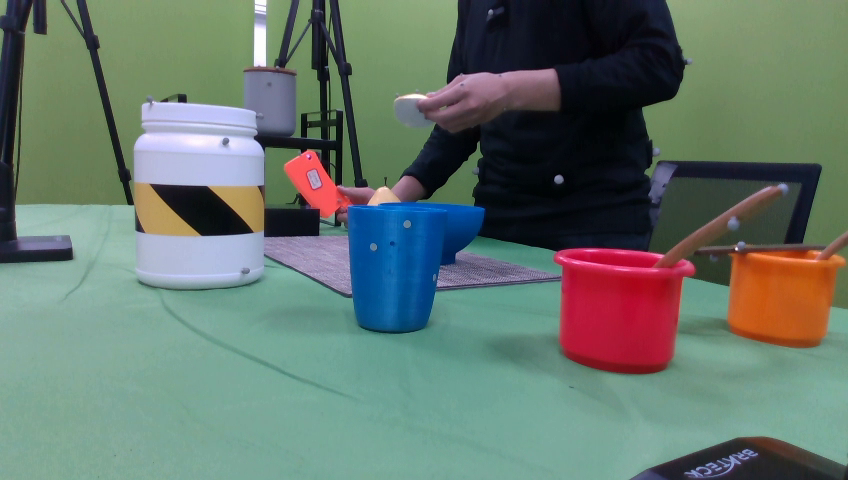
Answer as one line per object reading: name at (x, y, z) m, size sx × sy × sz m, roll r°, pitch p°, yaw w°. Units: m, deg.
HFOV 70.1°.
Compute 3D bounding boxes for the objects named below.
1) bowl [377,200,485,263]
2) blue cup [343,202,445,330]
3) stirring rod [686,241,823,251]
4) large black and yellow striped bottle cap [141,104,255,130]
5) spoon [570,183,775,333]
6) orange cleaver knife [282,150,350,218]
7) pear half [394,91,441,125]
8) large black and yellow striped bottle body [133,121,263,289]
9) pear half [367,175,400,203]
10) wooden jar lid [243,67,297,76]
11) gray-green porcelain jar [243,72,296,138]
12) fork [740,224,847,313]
bowl at (0.008, -0.012, 0.842) m, size 0.151 × 0.077 × 0.151 m, roll 3°, pitch 8°, yaw 0°
blue cup at (-0.027, 0.021, 0.510) m, size 0.093 × 0.100 × 0.092 m, roll 3°, pitch 5°, yaw 0°
stirring rod at (0.289, 0.005, 0.525) m, size 0.177 × 0.006 × 0.014 m, roll -1°, pitch 5°, yaw -26°
large black and yellow striped bottle cap at (-0.241, -0.131, 0.650) m, size 0.115 × 0.019 × 0.115 m, roll 3°, pitch 8°, yaw 0°
spoon at (0.160, 0.020, 0.413) m, size 0.042 × 0.021 × 0.193 m, roll 0°, pitch -36°, yaw -24°
orange cleaver knife at (-0.181, -0.081, 1.148) m, size 0.012 × 0.077 × 0.212 m, roll 7°, pitch -35°, yaw 52°
pear half at (-0.014, -0.216, 0.960) m, size 0.070 × 0.031 × 0.088 m, roll -31°, pitch -37°, yaw 31°
large black and yellow striped bottle body at (-0.243, -0.048, 0.659) m, size 0.131 × 0.184 × 0.130 m, roll 2°, pitch 7°, yaw 0°
pear half at (-0.064, -0.061, 1.077) m, size 0.055 × 0.110 × 0.077 m, roll 9°, pitch 13°, yaw 39°
wooden jar lid at (-0.319, -0.342, 1.254) m, size 0.108 × 0.020 × 0.108 m, roll 3°, pitch 8°, yaw 0°
gray-green porcelain jar at (-0.322, -0.279, 1.263) m, size 0.106 × 0.126 × 0.106 m, roll 3°, pitch 8°, yaw 0°
fork at (0.323, 0.013, 0.485) m, size 0.028 × 0.018 × 0.207 m, roll 9°, pitch -38°, yaw -5°
